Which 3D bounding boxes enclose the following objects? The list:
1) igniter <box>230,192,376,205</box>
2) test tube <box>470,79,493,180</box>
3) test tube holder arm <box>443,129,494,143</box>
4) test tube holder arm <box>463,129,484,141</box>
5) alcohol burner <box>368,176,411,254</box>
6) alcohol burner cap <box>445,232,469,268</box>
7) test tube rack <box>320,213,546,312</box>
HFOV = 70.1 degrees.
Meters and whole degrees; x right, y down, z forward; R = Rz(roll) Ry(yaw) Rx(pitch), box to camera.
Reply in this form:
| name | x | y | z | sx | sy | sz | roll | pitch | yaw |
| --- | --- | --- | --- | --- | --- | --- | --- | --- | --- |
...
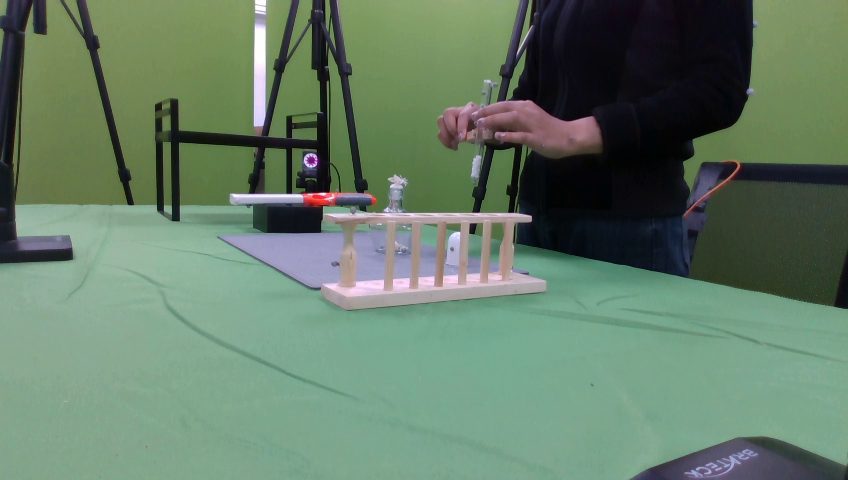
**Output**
| name | x | y | z | sx | sy | sz | roll | pitch | yaw |
| --- | --- | --- | --- | --- | --- | --- | --- | --- | --- |
| igniter | -0.226 | -0.079 | 1.161 | 0.278 | 0.025 | 0.057 | -2 | 15 | -28 |
| test tube | 0.086 | -0.166 | 0.914 | 0.017 | 0.150 | 0.017 | 7 | 7 | -1 |
| test tube holder arm | 0.068 | -0.167 | 0.980 | 0.013 | 0.015 | 0.177 | -1 | 6 | -20 |
| test tube holder arm | 0.076 | -0.162 | 0.935 | 0.010 | 0.015 | 0.087 | -1 | 6 | -10 |
| alcohol burner | -0.045 | -0.038 | 0.912 | 0.078 | 0.119 | 0.078 | 4 | 7 | 0 |
| alcohol burner cap | 0.046 | 0.013 | 0.829 | 0.034 | 0.048 | 0.034 | 2 | 8 | 0 |
| test tube rack | 0.018 | 0.017 | 0.638 | 0.244 | 0.085 | 0.066 | -2 | 9 | -31 |
